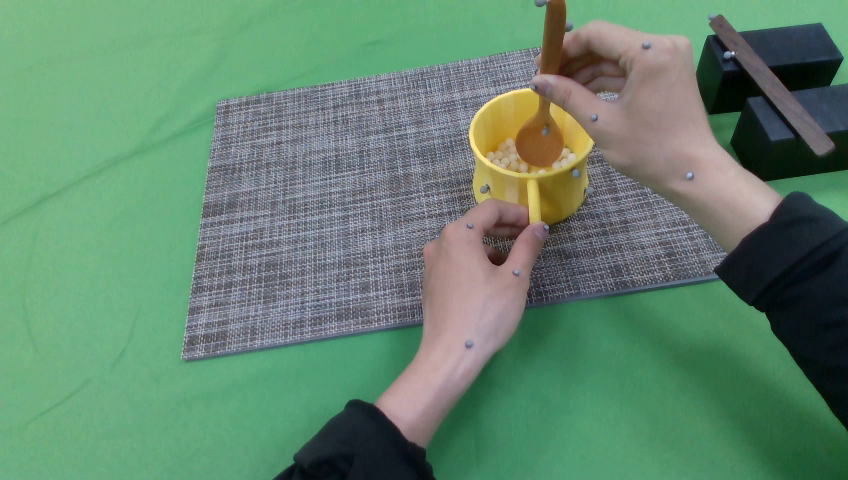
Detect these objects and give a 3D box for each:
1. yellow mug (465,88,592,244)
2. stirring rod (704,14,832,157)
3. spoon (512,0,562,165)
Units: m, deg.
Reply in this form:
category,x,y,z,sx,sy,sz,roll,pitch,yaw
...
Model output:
category,x,y,z,sx,sy,sz,roll,pitch,yaw
yellow mug,0.086,-0.057,0.495,0.100,0.064,0.129,-3,55,7
stirring rod,0.278,-0.133,0.498,0.014,0.006,0.174,-36,50,27
spoon,0.086,-0.104,0.439,0.041,0.195,0.021,11,74,10
